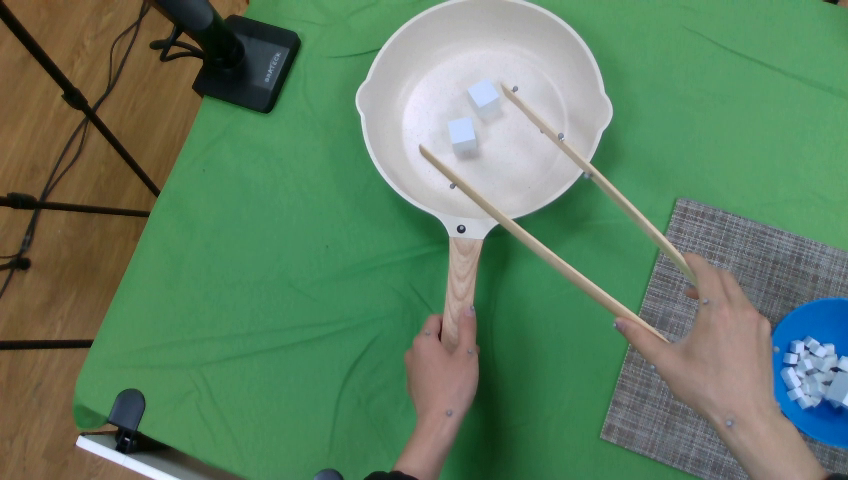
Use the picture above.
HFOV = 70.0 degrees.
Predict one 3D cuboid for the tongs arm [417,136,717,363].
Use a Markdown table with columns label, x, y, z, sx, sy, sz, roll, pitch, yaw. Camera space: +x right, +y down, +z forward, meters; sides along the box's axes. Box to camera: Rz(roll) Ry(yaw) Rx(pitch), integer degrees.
| label | x | y | z | sx | sy | sz | roll | pitch | yaw |
| --- | --- | --- | --- | --- | --- | --- | --- | --- | --- |
| tongs arm | 0.116 | -0.005 | 0.609 | 0.028 | 0.028 | 0.383 | -40 | 58 | -12 |

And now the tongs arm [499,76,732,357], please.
| label | x | y | z | sx | sy | sz | roll | pitch | yaw |
| --- | --- | --- | --- | --- | --- | --- | --- | --- | --- |
| tongs arm | 0.170 | -0.046 | 0.614 | 0.051 | 0.027 | 0.380 | -34 | 57 | -4 |

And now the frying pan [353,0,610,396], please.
| label | x | y | z | sx | sy | sz | roll | pitch | yaw |
| --- | --- | --- | --- | --- | --- | --- | --- | --- | --- |
| frying pan | 0.053 | -0.064 | 0.716 | 0.306 | 0.103 | 0.485 | 6 | 70 | 9 |

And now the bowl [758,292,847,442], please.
| label | x | y | z | sx | sy | sz | roll | pitch | yaw |
| --- | --- | --- | --- | --- | --- | --- | --- | --- | --- |
| bowl | 0.423 | 0.134 | 0.643 | 0.151 | 0.077 | 0.150 | -1 | 78 | 6 |
